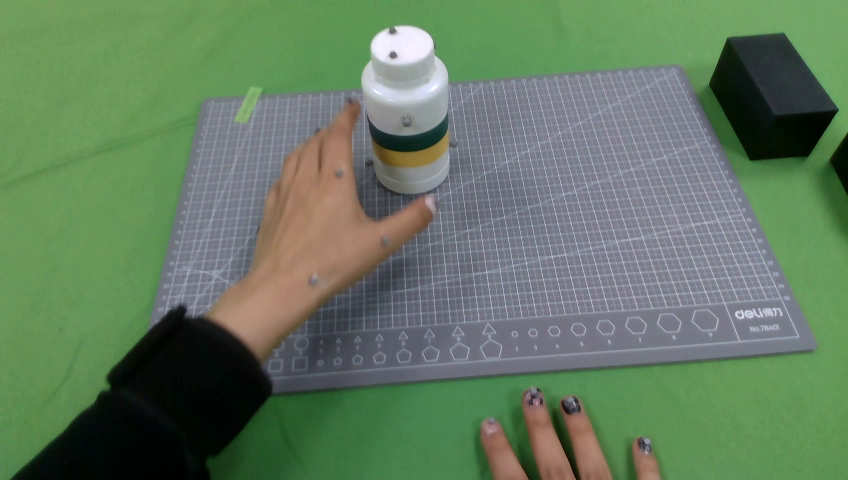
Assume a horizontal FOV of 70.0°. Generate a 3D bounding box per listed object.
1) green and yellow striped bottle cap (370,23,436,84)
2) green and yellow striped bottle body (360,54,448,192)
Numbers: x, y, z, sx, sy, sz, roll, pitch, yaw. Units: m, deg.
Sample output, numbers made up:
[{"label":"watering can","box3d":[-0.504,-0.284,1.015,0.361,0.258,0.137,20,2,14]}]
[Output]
[{"label":"green and yellow striped bottle cap","box3d":[-0.014,-0.128,0.415,0.045,0.020,0.045,-2,55,3]},{"label":"green and yellow striped bottle body","box3d":[-0.014,-0.097,0.457,0.063,0.121,0.062,-1,54,2]}]
